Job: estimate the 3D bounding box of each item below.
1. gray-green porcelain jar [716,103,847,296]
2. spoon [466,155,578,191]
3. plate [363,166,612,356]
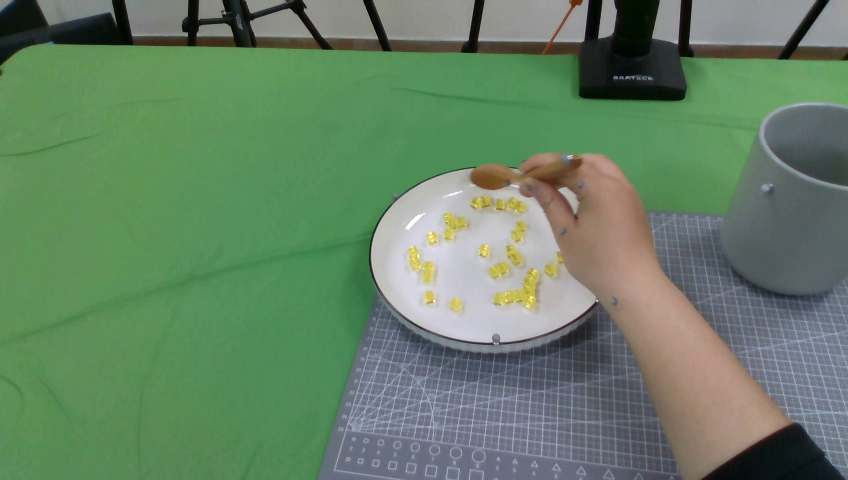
[{"bbox_3d":[0.299,-0.026,0.480,0.106,0.128,0.105,-3,46,3],"label":"gray-green porcelain jar"},{"bbox_3d":[0.077,-0.052,0.492,0.042,0.021,0.193,16,0,-14],"label":"spoon"},{"bbox_3d":[0.053,0.017,0.524,0.207,0.039,0.205,-2,46,3],"label":"plate"}]
